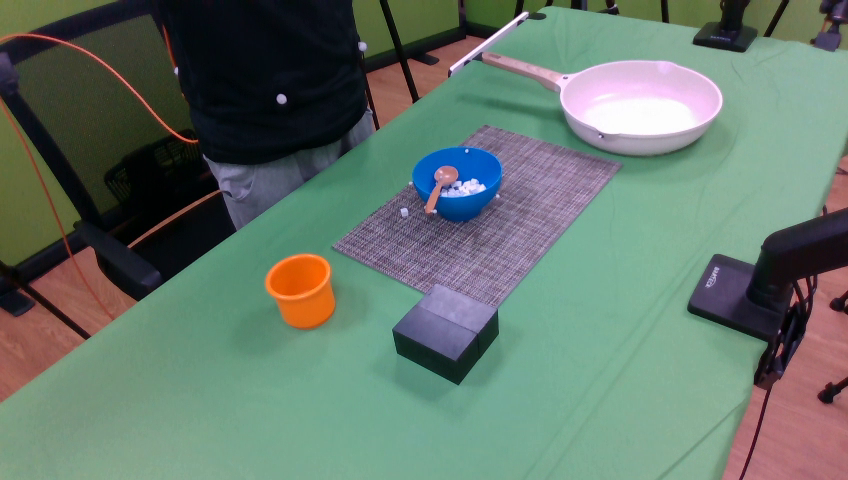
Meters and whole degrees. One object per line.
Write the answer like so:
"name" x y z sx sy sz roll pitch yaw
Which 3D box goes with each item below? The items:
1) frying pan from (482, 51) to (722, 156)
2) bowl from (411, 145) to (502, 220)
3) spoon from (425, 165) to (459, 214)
"frying pan" 0.326 -0.298 1.204 0.485 0.103 0.307 28 51 23
"bowl" 0.057 -0.086 1.010 0.151 0.077 0.150 -4 41 4
"spoon" 0.023 -0.083 0.963 0.041 0.021 0.193 8 24 10
